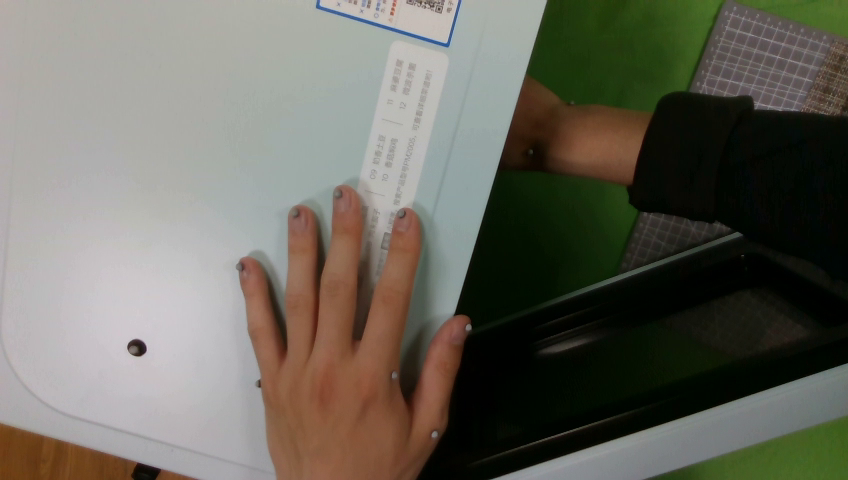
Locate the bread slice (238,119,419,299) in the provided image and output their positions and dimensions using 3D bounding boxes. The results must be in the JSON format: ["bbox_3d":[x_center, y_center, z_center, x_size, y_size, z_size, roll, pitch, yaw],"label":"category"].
[{"bbox_3d":[-0.083,-0.027,0.488,0.105,0.019,0.132,-41,108,2],"label":"bread slice"}]

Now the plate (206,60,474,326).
[{"bbox_3d":[-0.065,-0.035,0.484,0.207,0.039,0.208,0,105,2],"label":"plate"}]

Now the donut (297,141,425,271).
[{"bbox_3d":[-0.048,-0.026,0.462,0.099,0.048,0.099,0,100,0],"label":"donut"}]

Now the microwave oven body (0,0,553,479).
[{"bbox_3d":[-0.086,-0.096,0.425,0.326,0.259,0.443,15,106,0],"label":"microwave oven body"}]

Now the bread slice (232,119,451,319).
[{"bbox_3d":[-0.064,-0.019,0.423,0.134,0.018,0.107,26,97,1],"label":"bread slice"}]

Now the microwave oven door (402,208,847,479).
[{"bbox_3d":[0.155,0.081,0.449,0.355,0.243,0.039,-22,101,9],"label":"microwave oven door"}]
